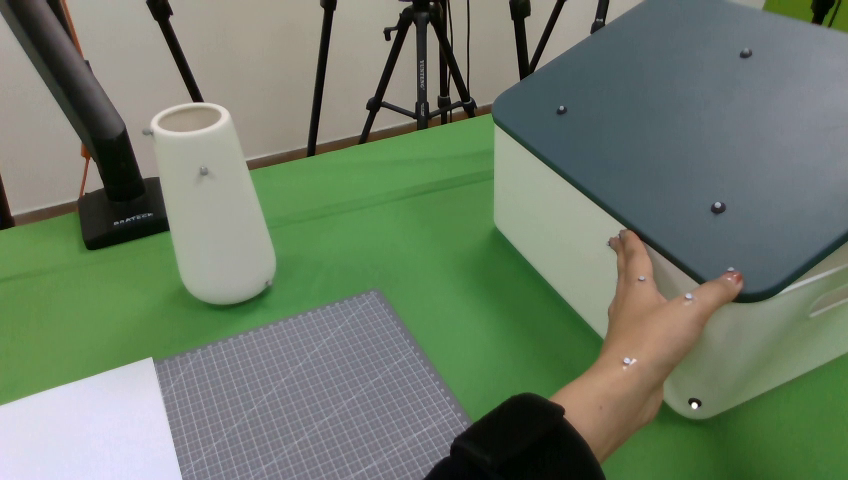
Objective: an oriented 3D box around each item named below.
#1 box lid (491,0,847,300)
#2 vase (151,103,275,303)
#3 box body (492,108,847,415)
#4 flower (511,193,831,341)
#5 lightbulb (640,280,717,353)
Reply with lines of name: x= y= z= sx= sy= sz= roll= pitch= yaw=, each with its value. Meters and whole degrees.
box lid: x=0.246 y=-0.121 z=0.546 sx=0.263 sy=0.015 sz=0.367 roll=-36 pitch=42 yaw=-2
vase: x=-0.212 y=-0.033 z=0.611 sx=0.098 sy=0.202 sz=0.097 roll=-1 pitch=36 yaw=1
box body: x=0.258 y=-0.022 z=0.631 sx=0.255 sy=0.162 sz=0.359 roll=-16 pitch=40 yaw=-20
flower: x=0.263 y=0.028 z=0.682 sx=0.359 sy=0.038 sz=0.044 roll=26 pitch=34 yaw=22
lightbulb: x=0.241 y=0.069 z=0.592 sx=0.059 sy=0.060 sz=0.107 roll=-3 pitch=21 yaw=-4
